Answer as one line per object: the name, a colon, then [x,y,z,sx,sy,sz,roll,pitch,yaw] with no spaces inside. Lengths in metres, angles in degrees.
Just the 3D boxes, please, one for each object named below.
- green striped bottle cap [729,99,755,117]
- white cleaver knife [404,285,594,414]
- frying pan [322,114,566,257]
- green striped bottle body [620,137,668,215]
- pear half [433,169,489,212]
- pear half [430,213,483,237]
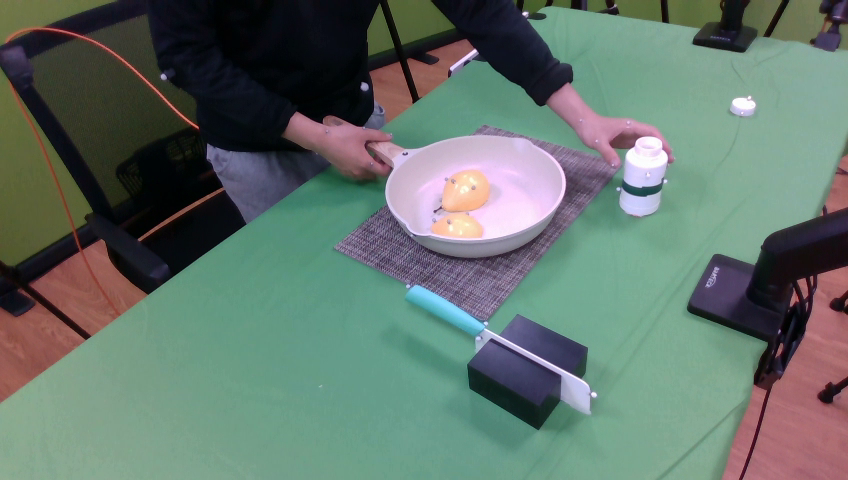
green striped bottle cap: [0.623,-0.259,1.182,0.044,0.020,0.044,-3,41,3]
white cleaver knife: [0.084,0.135,0.764,0.284,0.066,0.021,27,47,31]
frying pan: [0.004,-0.121,1.039,0.484,0.103,0.308,31,52,25]
green striped bottle body: [0.350,-0.103,0.963,0.063,0.120,0.063,-4,41,4]
pear half: [0.057,-0.083,1.024,0.110,0.056,0.075,-34,42,-24]
pear half: [0.051,-0.024,0.973,0.087,0.031,0.070,14,40,18]
